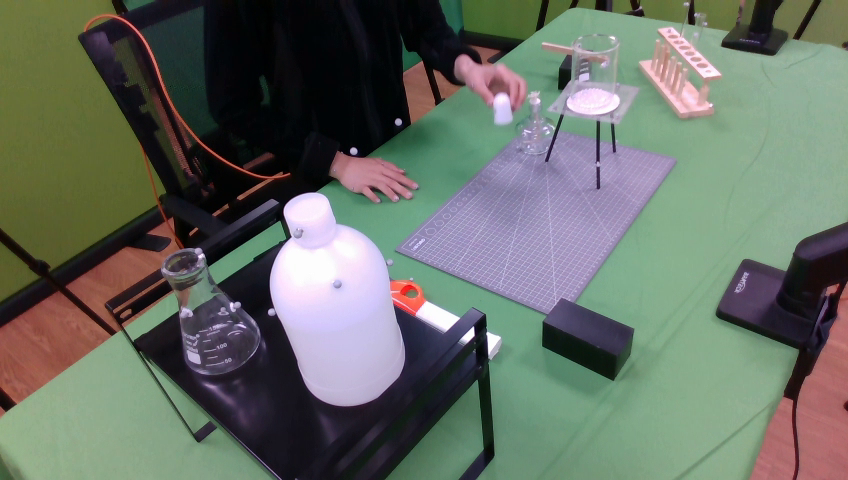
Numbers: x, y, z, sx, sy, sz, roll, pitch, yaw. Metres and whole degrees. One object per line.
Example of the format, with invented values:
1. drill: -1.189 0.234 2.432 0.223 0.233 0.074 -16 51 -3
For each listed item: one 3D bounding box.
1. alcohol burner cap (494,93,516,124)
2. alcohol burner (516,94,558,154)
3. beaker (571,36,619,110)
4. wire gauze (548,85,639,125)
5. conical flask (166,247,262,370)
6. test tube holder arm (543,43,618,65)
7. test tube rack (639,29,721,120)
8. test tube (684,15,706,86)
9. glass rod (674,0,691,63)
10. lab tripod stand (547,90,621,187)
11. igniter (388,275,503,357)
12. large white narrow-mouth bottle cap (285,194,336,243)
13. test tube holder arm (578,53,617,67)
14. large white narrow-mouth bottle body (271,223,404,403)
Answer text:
1. alcohol burner cap: 0.132 -0.221 1.007 0.034 0.048 0.033 -15 22 7
2. alcohol burner: 0.212 -0.221 1.134 0.078 0.119 0.077 -5 43 5
3. beaker: 0.281 -0.273 0.992 0.084 0.101 0.073 -24 42 -16
4. wire gauze: 0.286 -0.233 1.020 0.124 0.011 0.122 15 43 30
5. conical flask: -0.208 0.064 0.584 0.075 0.122 0.075 -5 40 4
6. test tube holder arm: 0.344 -0.413 1.340 0.177 0.015 0.013 25 51 31
7. test tube rack: 0.527 -0.351 1.262 0.067 0.085 0.241 -8 40 1
8. test tube: 0.541 -0.378 1.216 0.017 0.151 0.017 -2 44 3
9. glass rod: 0.537 -0.437 1.257 0.008 0.200 0.008 0 39 1
10. lab tripod stand: 0.289 -0.184 1.062 0.148 0.132 0.147 -6 41 6
11. igniter: -0.008 0.093 0.870 0.274 0.025 0.057 24 60 33
12. large white narrow-mouth bottle cap: -0.087 -0.017 0.468 0.038 0.024 0.037 -5 40 4
13. test tube holder arm: 0.376 -0.393 1.314 0.087 0.015 0.010 26 51 32
14. large white narrow-mouth bottle body: -0.077 0.048 0.525 0.102 0.195 0.101 -5 40 5
